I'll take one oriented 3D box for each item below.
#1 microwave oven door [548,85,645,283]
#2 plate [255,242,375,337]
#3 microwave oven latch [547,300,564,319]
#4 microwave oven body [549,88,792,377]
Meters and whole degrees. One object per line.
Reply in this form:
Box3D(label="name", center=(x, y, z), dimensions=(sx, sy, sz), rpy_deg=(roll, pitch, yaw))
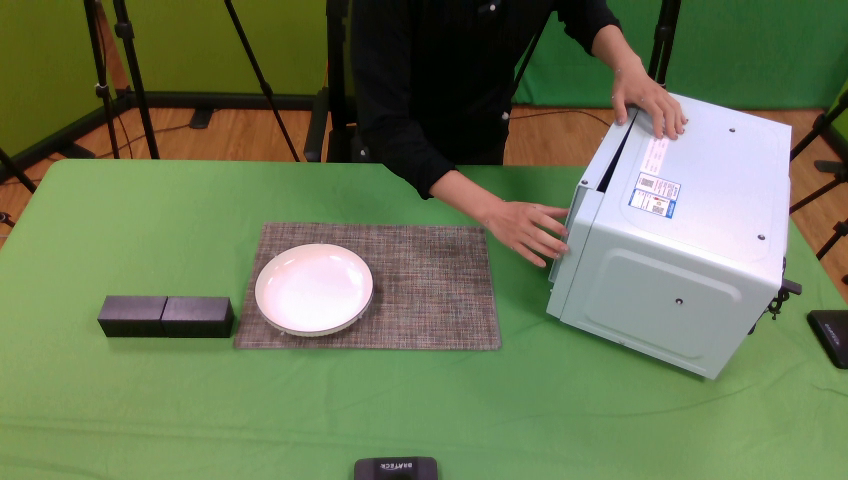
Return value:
Box3D(label="microwave oven door", center=(0.334, -0.110, 1.151), dimensions=(0.039, 0.245, 0.355), rpy_deg=(23, 49, 17))
Box3D(label="plate", center=(-0.192, 0.090, 1.079), dimensions=(0.208, 0.039, 0.206), rpy_deg=(2, 46, -2))
Box3D(label="microwave oven latch", center=(0.242, 0.102, 1.081), dimensions=(0.030, 0.029, 0.079), rpy_deg=(21, 48, 17))
Box3D(label="microwave oven body", center=(0.456, -0.028, 1.088), dimensions=(0.325, 0.261, 0.440), rpy_deg=(20, 47, 16))
